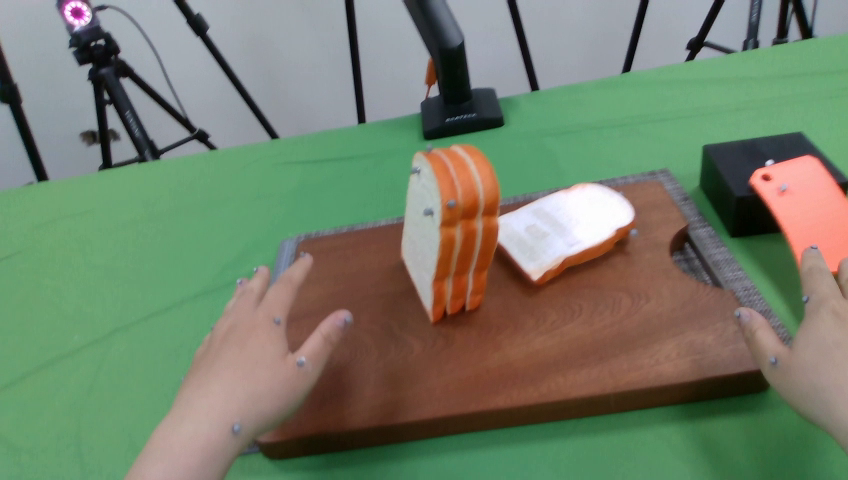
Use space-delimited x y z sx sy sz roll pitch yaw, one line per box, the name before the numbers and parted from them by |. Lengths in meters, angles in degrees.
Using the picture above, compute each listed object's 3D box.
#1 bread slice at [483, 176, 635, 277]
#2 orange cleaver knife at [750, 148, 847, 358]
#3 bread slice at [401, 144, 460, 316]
bread slice | 0.137 -0.019 0.589 0.131 0.019 0.103 -24 37 -8
orange cleaver knife | 0.342 0.001 0.517 0.077 0.012 0.209 -3 54 8
bread slice | 0.005 -0.017 0.544 0.018 0.135 0.106 -5 34 -17
